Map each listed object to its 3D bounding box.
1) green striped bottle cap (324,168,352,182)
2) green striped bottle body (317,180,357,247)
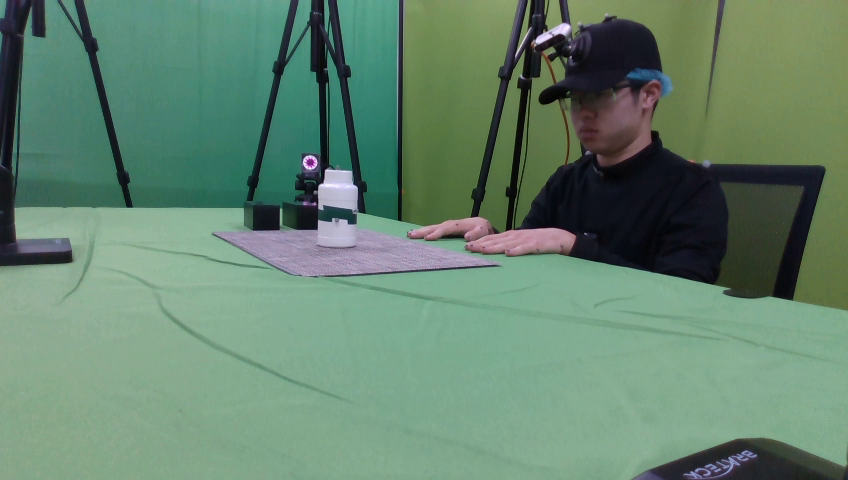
[{"bbox_3d":[-0.136,-0.103,0.959,0.044,0.020,0.044,4,9,0],"label":"green striped bottle cap"},{"bbox_3d":[-0.138,-0.051,0.964,0.063,0.119,0.063,2,7,0],"label":"green striped bottle body"}]
